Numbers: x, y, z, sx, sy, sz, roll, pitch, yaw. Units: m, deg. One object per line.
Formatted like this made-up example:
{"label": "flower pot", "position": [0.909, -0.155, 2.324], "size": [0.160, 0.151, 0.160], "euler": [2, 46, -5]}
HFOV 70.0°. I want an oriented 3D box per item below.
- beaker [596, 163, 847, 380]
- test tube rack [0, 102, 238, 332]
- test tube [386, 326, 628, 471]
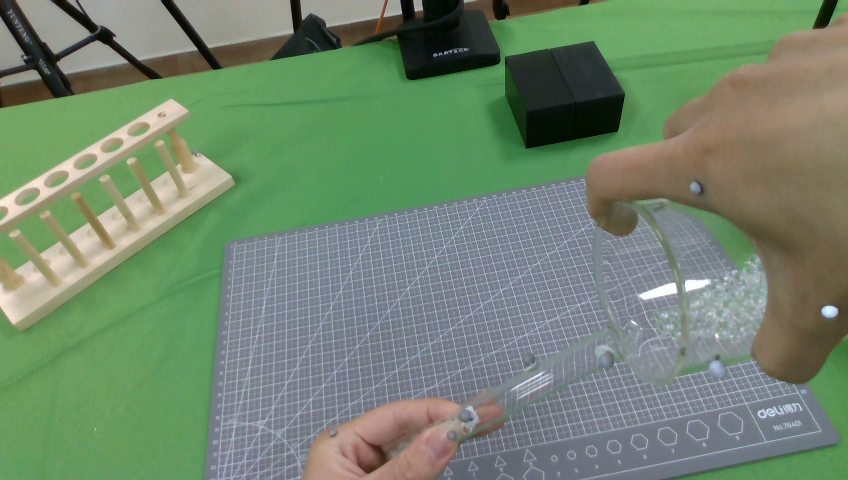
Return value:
{"label": "beaker", "position": [0.131, 0.012, 0.247], "size": [0.100, 0.085, 0.073], "euler": [-11, 55, -6]}
{"label": "test tube rack", "position": [-0.312, -0.029, 0.592], "size": [0.066, 0.086, 0.242], "euler": [33, 61, 31]}
{"label": "test tube", "position": [0.035, 0.084, 0.304], "size": [0.150, 0.017, 0.017], "euler": [-37, 42, 27]}
